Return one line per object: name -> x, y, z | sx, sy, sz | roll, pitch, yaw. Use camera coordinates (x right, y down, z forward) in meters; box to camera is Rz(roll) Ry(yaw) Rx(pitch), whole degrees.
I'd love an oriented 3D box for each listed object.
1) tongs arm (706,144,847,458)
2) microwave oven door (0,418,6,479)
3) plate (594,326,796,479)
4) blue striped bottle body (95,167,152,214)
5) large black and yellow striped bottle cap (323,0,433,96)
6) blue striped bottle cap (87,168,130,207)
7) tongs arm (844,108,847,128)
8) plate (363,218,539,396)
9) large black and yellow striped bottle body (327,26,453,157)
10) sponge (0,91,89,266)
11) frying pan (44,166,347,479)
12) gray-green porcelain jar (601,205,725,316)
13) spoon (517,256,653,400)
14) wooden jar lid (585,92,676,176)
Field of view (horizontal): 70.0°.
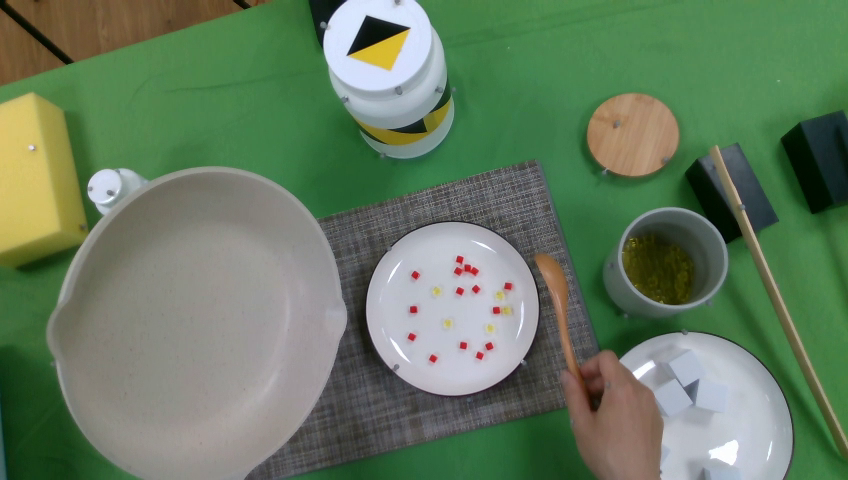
tongs arm -> 0.401, 0.068, 0.654 | 0.051, 0.026, 0.384 | -20, 87, 1
microwave oven door -> -0.531, 0.344, 0.620 | 0.039, 0.245, 0.354 | -15, 77, 4
plate -> 0.293, 0.200, 0.670 | 0.207, 0.039, 0.206 | -1, 79, 7
blue striped bottle body -> -0.362, -0.051, 0.758 | 0.063, 0.121, 0.063 | -1, 78, 7
large black and yellow striped bottle cap -> -0.048, -0.207, 0.632 | 0.115, 0.019, 0.114 | -1, 80, 7
blue striped bottle cap -> -0.369, -0.062, 0.709 | 0.044, 0.021, 0.044 | -1, 80, 7
tongs arm -> 0.482, 0.046, 0.650 | 0.028, 0.028, 0.387 | -6, 88, -2
plate -> 0.032, 0.078, 0.723 | 0.209, 0.038, 0.208 | -1, 79, 7
large black and yellow striped bottle body -> -0.038, -0.188, 0.714 | 0.130, 0.185, 0.130 | -1, 78, 7
sponge -> -0.543, -0.082, 0.817 | 0.118, 0.061, 0.205 | -20, 78, 2
frying pan -> -0.200, 0.179, 0.568 | 0.102, 0.309, 0.486 | -9, 80, 38
gray-green porcelain jar -> 0.253, 0.028, 0.663 | 0.106, 0.127, 0.105 | -1, 78, 7
spoon -> 0.165, 0.088, 0.630 | 0.041, 0.022, 0.191 | -35, 59, -7
wooden jar lid -> 0.254, -0.130, 0.749 | 0.108, 0.021, 0.108 | -1, 80, 7
